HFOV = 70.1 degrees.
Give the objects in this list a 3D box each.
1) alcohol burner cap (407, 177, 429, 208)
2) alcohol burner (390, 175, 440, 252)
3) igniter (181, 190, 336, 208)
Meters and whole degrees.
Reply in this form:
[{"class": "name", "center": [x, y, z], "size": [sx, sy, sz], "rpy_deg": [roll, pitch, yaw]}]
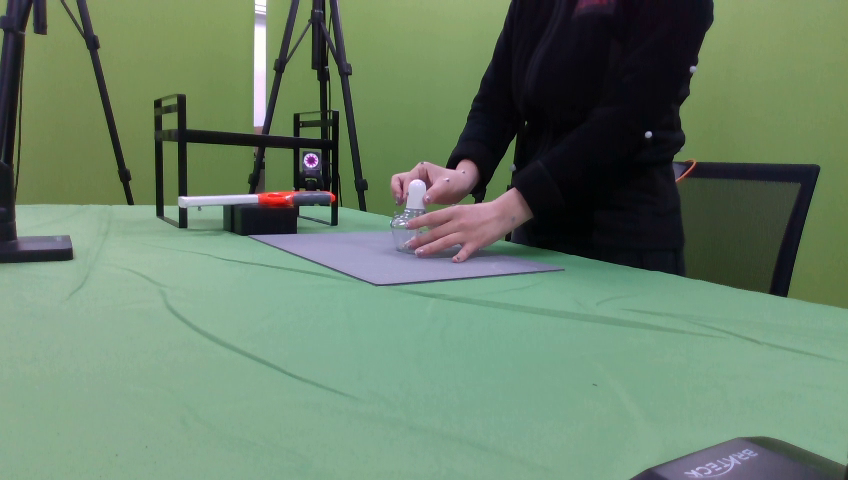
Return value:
[{"class": "alcohol burner cap", "center": [-0.010, -0.072, 0.924], "size": [0.034, 0.048, 0.034], "rpy_deg": [-3, -8, 0]}, {"class": "alcohol burner", "center": [-0.012, -0.041, 0.929], "size": [0.078, 0.119, 0.078], "rpy_deg": [4, 8, 0]}, {"class": "igniter", "center": [-0.294, -0.076, 1.103], "size": [0.278, 0.025, 0.057], "rpy_deg": [-5, 12, -32]}]
